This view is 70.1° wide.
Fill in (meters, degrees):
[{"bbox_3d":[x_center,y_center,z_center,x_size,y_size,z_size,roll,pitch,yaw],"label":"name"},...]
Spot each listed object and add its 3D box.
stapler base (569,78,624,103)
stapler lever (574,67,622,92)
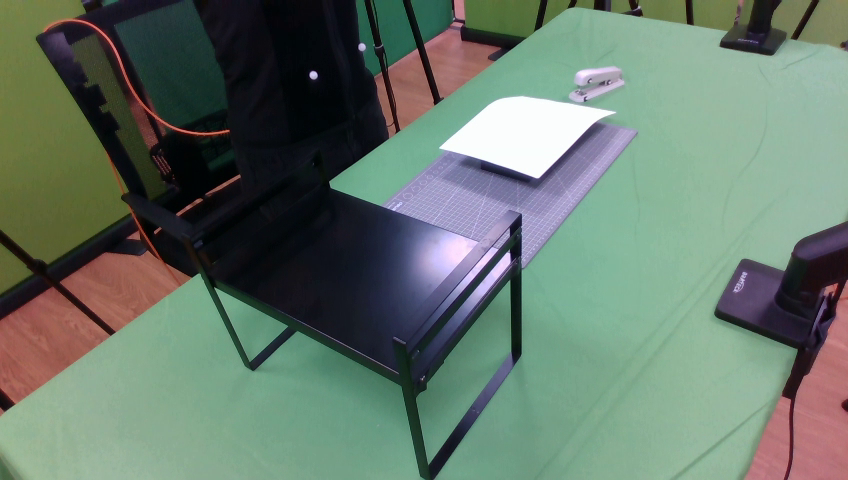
[{"bbox_3d":[0.373,-0.332,1.308,0.131,0.024,0.041,-24,44,-20],"label":"stapler base"},{"bbox_3d":[0.371,-0.351,1.293,0.118,0.040,0.026,-25,45,-20],"label":"stapler lever"}]
